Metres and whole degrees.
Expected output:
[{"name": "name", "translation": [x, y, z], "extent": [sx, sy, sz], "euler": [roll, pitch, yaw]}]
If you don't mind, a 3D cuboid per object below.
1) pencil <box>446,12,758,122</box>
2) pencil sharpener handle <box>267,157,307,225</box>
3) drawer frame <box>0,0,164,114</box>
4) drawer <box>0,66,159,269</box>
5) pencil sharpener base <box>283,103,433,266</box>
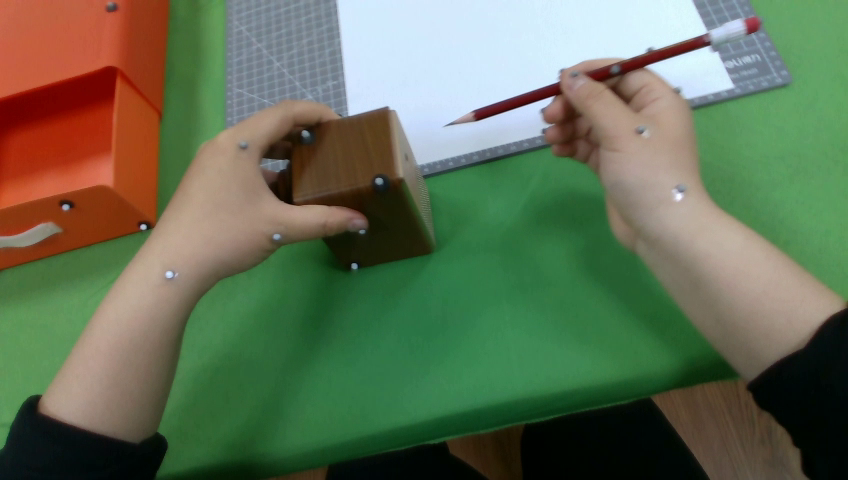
[{"name": "pencil", "translation": [0.106, -0.105, 0.377], "extent": [0.194, 0.012, 0.012], "euler": [-16, 62, 10]}, {"name": "pencil sharpener handle", "translation": [-0.095, -0.028, 0.415], "extent": [0.030, 0.068, 0.035], "euler": [-12, 67, 7]}, {"name": "drawer frame", "translation": [-0.360, -0.192, 0.582], "extent": [0.201, 0.083, 0.211], "euler": [-15, 62, 6]}, {"name": "drawer", "translation": [-0.337, -0.089, 0.530], "extent": [0.194, 0.074, 0.209], "euler": [-15, 62, 6]}, {"name": "pencil sharpener base", "translation": [-0.043, -0.033, 0.419], "extent": [0.076, 0.108, 0.061], "euler": [-13, 63, 7]}]
